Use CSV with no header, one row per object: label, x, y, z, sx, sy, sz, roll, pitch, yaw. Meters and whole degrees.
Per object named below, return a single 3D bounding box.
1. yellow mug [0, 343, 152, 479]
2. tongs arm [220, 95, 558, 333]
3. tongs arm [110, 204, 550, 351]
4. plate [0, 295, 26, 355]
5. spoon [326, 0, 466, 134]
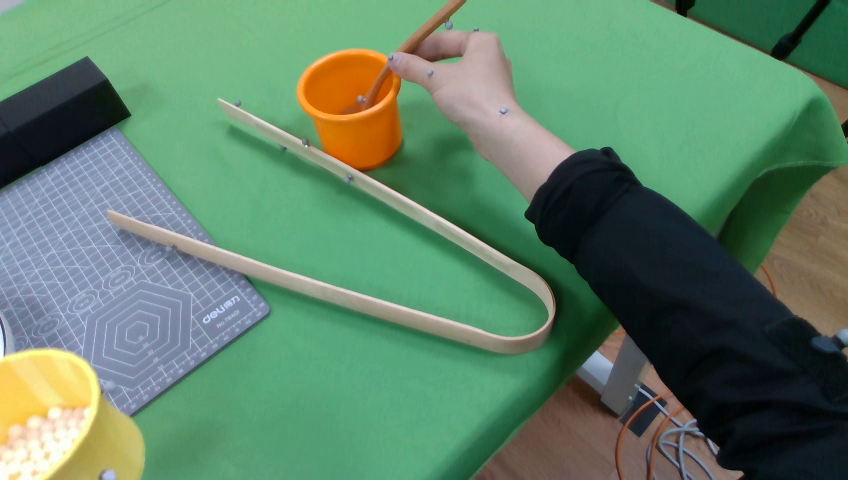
yellow mug,-0.227,0.123,0.329,0.131,0.064,0.099,-31,49,-23
tongs arm,-0.052,-0.036,0.522,0.382,0.027,0.050,28,62,21
tongs arm,-0.092,0.025,0.488,0.386,0.028,0.028,16,55,15
plate,-0.396,0.122,0.449,0.207,0.039,0.205,-3,56,5
spoon,-0.028,-0.152,0.527,0.022,0.194,0.041,27,46,-27
